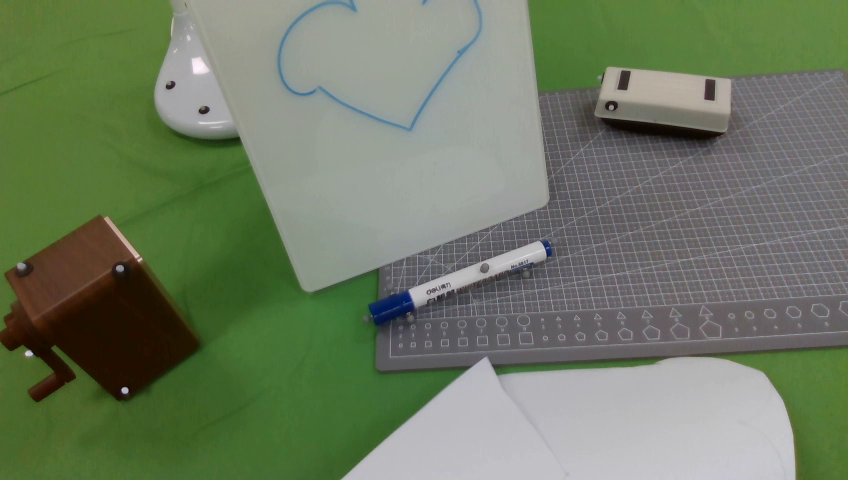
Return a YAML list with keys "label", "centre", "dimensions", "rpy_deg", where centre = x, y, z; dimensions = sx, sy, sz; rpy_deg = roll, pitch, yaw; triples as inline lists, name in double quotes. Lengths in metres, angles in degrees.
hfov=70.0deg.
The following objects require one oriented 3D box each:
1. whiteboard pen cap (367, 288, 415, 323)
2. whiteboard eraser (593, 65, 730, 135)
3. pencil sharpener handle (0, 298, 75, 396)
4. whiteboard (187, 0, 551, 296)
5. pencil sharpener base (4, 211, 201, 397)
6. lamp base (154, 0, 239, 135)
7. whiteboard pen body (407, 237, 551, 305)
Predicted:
- label: "whiteboard pen cap"
  centre: [-0.024, 0.047, 0.444]
  dimensions: [0.033, 0.018, 0.018]
  rpy_deg: [-21, 52, -9]
- label: "whiteboard eraser"
  centre: [0.214, -0.126, 0.547]
  dimensions: [0.112, 0.042, 0.055]
  rpy_deg: [11, 54, 14]
- label: "pencil sharpener handle"
  centre: [-0.251, 0.070, 0.381]
  dimensions: [0.030, 0.068, 0.035]
  rpy_deg: [-38, 45, -22]
- label: "whiteboard"
  centre: [-0.045, -0.150, 0.464]
  dimensions: [0.217, 0.308, 0.142]
  rpy_deg: [-20, 32, -9]
- label: "pencil sharpener base"
  centre: [-0.214, 0.047, 0.412]
  dimensions: [0.076, 0.108, 0.061]
  rpy_deg: [-38, 57, -22]
- label: "lamp base"
  centre: [-0.216, -0.220, 0.580]
  dimensions: [0.177, 0.182, 0.160]
  rpy_deg: [30, 60, 29]
- label: "whiteboard pen body"
  centre: [0.031, 0.027, 0.454]
  dimensions: [0.141, 0.017, 0.017]
  rpy_deg: [-20, 52, -9]
